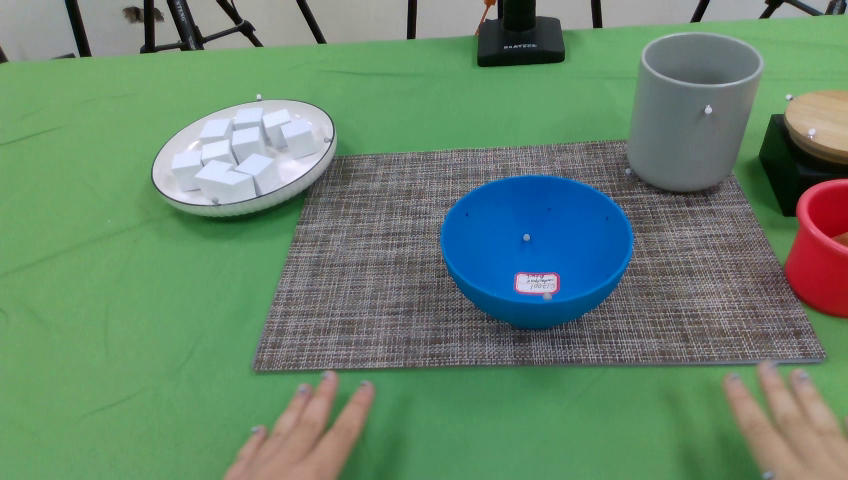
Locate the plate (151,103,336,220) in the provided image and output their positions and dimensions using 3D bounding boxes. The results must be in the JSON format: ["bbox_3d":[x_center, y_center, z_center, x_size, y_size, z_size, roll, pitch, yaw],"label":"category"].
[{"bbox_3d":[-0.202,-0.089,0.696,0.209,0.038,0.207,-5,43,5],"label":"plate"}]

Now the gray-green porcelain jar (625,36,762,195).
[{"bbox_3d":[0.255,-0.116,0.592,0.106,0.128,0.105,-4,43,4],"label":"gray-green porcelain jar"}]

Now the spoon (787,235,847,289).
[{"bbox_3d":[0.375,-0.024,0.468,0.022,0.194,0.041,31,30,-26],"label":"spoon"}]

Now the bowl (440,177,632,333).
[{"bbox_3d":[0.090,0.024,0.502,0.151,0.077,0.150,-4,43,4],"label":"bowl"}]

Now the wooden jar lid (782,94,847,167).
[{"bbox_3d":[0.394,-0.102,0.568,0.108,0.021,0.107,-5,43,5],"label":"wooden jar lid"}]
